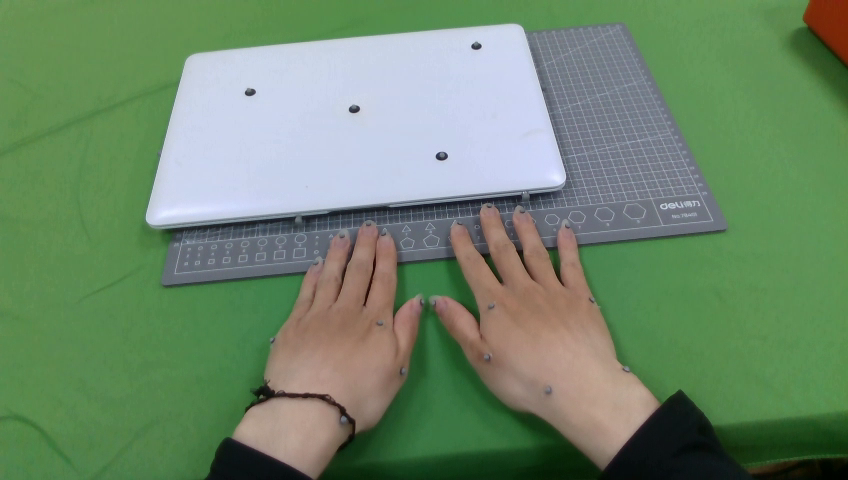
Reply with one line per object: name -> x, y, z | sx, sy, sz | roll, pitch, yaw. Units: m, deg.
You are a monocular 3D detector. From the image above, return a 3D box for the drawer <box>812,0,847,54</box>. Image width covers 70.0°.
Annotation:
drawer -> 0.509, -0.191, 0.553 | 0.194, 0.074, 0.209 | -10, 51, -2

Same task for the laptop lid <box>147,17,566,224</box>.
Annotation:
laptop lid -> -0.064, -0.123, 0.564 | 0.357, 0.013, 0.239 | -4, 54, 1

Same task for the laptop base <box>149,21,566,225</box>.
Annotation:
laptop base -> -0.063, -0.118, 0.575 | 0.354, 0.023, 0.233 | -6, 55, 0

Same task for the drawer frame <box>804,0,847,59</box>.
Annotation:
drawer frame -> 0.508, -0.193, 0.553 | 0.202, 0.083, 0.211 | -10, 51, -3
